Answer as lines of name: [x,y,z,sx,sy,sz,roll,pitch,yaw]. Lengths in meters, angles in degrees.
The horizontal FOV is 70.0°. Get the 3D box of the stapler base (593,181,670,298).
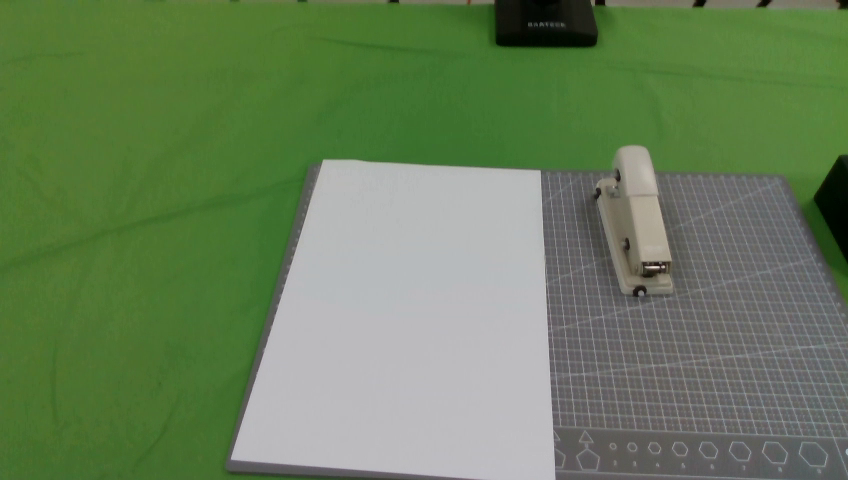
stapler base: [0.175,-0.009,0.515,0.041,0.024,0.129,-2,50,2]

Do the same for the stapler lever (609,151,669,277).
stapler lever: [0.175,-0.025,0.494,0.027,0.040,0.117,-2,50,2]
